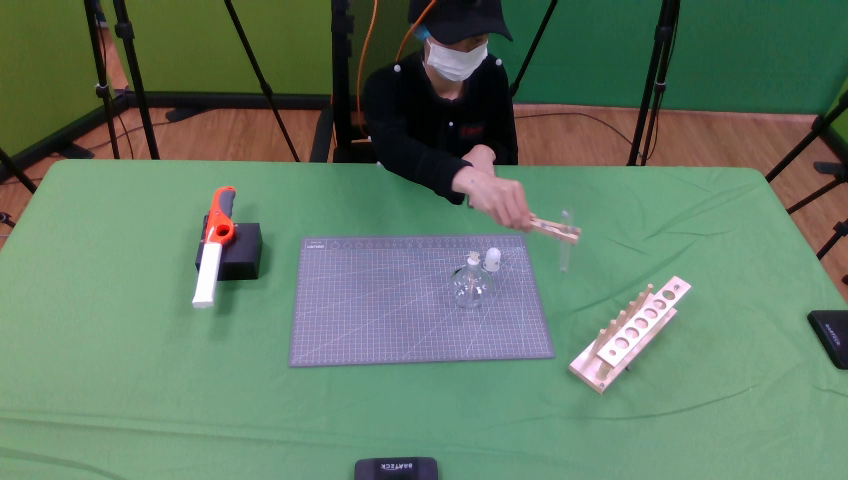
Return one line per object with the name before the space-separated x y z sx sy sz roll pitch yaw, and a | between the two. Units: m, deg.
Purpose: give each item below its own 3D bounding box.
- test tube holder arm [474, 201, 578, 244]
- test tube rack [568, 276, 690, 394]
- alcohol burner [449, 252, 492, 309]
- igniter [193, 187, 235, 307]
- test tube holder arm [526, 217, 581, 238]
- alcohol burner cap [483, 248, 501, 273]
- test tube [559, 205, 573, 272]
test tube holder arm | 0.160 -0.029 0.969 0.178 0.015 0.013 20 51 23
test tube rack | 0.353 0.149 1.038 0.242 0.085 0.066 -34 56 -31
alcohol burner | 0.084 0.066 1.073 0.078 0.120 0.077 1 44 -1
igniter | -0.379 0.003 1.096 0.057 0.025 0.274 -1 49 -6
test tube holder arm | 0.202 -0.020 0.956 0.087 0.015 0.010 14 50 18
alcohol burner cap | 0.130 0.037 1.156 0.034 0.048 0.033 1 45 -1
test tube | 0.224 0.001 0.959 0.017 0.151 0.017 -5 49 6
